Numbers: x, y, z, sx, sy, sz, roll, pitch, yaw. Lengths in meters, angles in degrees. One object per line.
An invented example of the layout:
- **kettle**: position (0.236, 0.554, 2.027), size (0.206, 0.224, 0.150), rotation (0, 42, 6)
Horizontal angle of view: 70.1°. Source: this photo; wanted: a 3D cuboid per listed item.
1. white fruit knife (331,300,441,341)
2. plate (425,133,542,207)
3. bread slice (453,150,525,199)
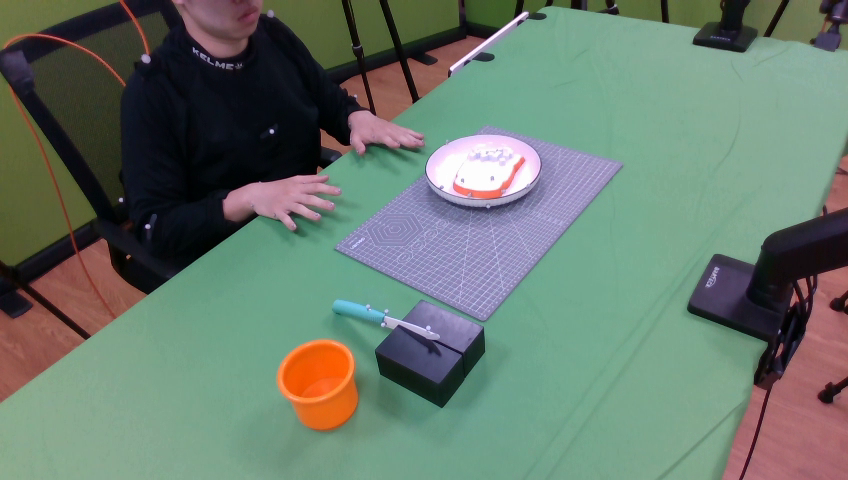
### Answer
- **white fruit knife**: position (-0.056, 0.107, 0.807), size (0.205, 0.027, 0.016), rotation (9, 42, 40)
- **plate**: position (0.106, -0.121, 1.079), size (0.209, 0.038, 0.208), rotation (-4, 41, 4)
- **bread slice**: position (0.112, -0.118, 1.079), size (0.104, 0.019, 0.131), rotation (11, 42, 21)
